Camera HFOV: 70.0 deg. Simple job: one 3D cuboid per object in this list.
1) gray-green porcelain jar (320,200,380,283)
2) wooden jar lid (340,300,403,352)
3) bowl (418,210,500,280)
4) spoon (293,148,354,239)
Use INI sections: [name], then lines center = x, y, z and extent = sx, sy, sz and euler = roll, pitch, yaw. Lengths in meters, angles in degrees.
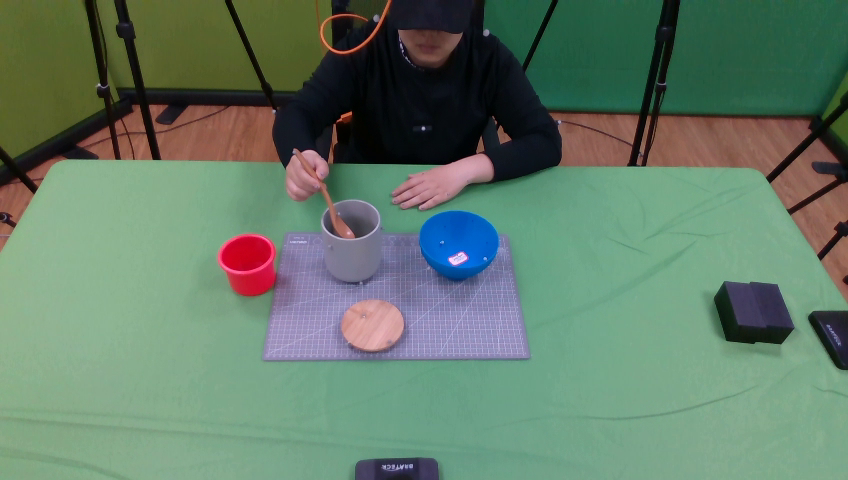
[gray-green porcelain jar]
center = -0.132, 0.007, 1.106
extent = 0.106, 0.127, 0.105
euler = 2, 46, -2
[wooden jar lid]
center = -0.090, 0.150, 1.046
extent = 0.108, 0.021, 0.107
euler = 3, 47, -3
[bowl]
center = 0.062, 0.022, 1.140
extent = 0.151, 0.077, 0.150
euler = 2, 46, -2
[spoon]
center = -0.173, -0.076, 1.048
extent = 0.021, 0.194, 0.041
euler = -16, 28, 18
